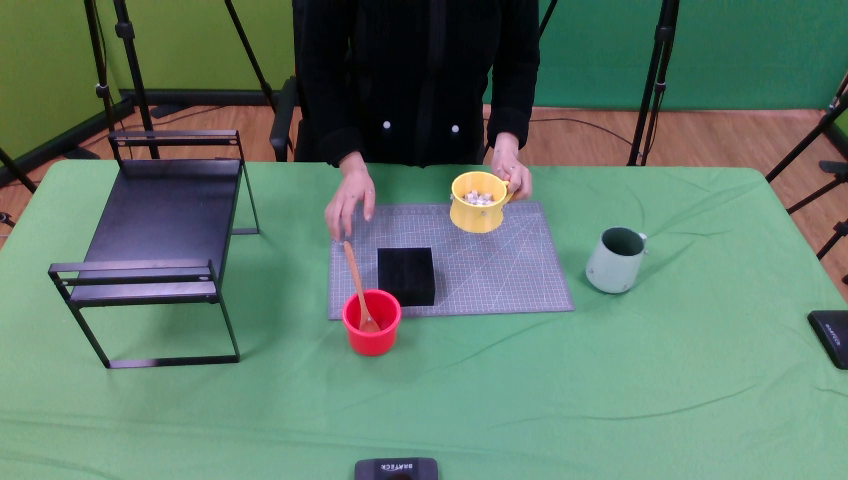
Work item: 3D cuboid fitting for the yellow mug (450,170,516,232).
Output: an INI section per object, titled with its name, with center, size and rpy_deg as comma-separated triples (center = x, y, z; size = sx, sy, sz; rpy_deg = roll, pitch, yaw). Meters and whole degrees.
[yellow mug]
center = 0.112, -0.077, 1.105
size = 0.131, 0.064, 0.099
rpy_deg = -20, 49, -21

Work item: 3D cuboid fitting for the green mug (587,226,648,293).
[green mug]
center = 0.371, 0.030, 1.136
size = 0.125, 0.105, 0.092
rpy_deg = -28, 53, -27

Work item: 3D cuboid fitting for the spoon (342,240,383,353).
[spoon]
center = -0.106, 0.094, 1.014
size = 0.041, 0.021, 0.193
rpy_deg = -14, 93, -13
